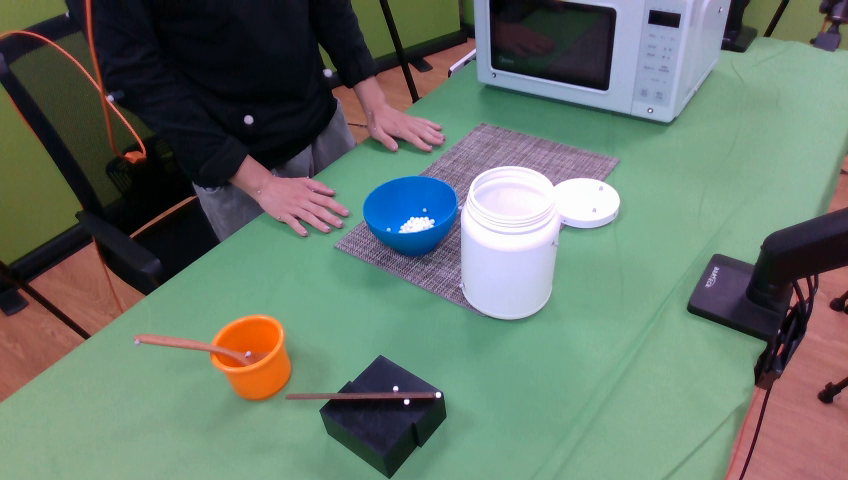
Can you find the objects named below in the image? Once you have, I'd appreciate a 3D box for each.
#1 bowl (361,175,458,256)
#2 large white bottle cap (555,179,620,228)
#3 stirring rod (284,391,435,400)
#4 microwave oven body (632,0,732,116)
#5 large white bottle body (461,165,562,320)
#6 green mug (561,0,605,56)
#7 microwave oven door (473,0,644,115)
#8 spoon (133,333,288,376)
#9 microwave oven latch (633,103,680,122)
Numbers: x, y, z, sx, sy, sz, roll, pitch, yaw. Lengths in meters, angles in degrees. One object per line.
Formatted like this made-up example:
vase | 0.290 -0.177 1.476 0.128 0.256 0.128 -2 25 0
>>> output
bowl | -0.018 -0.029 0.955 0.151 0.077 0.150 -4 40 4
large white bottle cap | 0.265 -0.062 1.001 0.115 0.018 0.114 -4 41 4
stirring rod | -0.075 0.180 0.698 0.176 0.006 0.014 -2 6 6
microwave oven body | 0.377 -0.462 1.267 0.438 0.261 0.327 21 48 30
large white bottle body | 0.115 0.003 0.815 0.130 0.185 0.130 -2 43 2
green mug | 0.336 -0.450 1.293 0.092 0.105 0.125 7 49 23
microwave oven door | 0.257 -0.396 1.199 0.353 0.245 0.039 21 48 29
spoon | -0.257 0.137 0.747 0.021 0.195 0.041 -47 40 23
microwave oven latch | 0.444 -0.249 1.157 0.078 0.029 0.030 21 48 30
